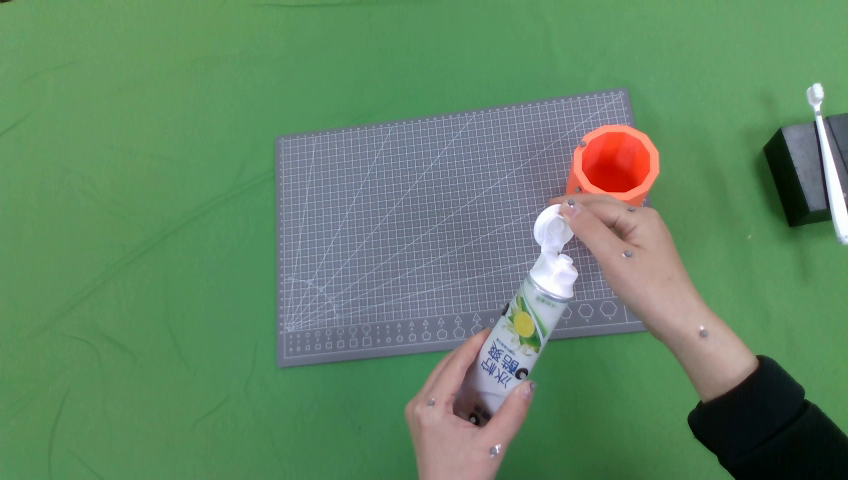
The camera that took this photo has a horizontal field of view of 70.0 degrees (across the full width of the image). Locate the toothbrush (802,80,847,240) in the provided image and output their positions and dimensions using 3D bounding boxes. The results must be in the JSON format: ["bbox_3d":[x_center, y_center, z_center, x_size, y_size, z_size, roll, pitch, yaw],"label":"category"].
[{"bbox_3d":[0.423,-0.087,0.636,0.014,0.017,0.181,-1,73,4],"label":"toothbrush"}]

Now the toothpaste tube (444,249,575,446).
[{"bbox_3d":[0.064,0.077,0.452,0.054,0.035,0.165,40,117,34],"label":"toothpaste tube"}]

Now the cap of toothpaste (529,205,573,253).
[{"bbox_3d":[0.092,-0.008,0.433,0.037,0.038,0.011,-38,32,-5],"label":"cap of toothpaste"}]

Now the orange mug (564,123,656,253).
[{"bbox_3d":[0.199,-0.053,0.661,0.083,0.101,0.125,2,69,8],"label":"orange mug"}]
